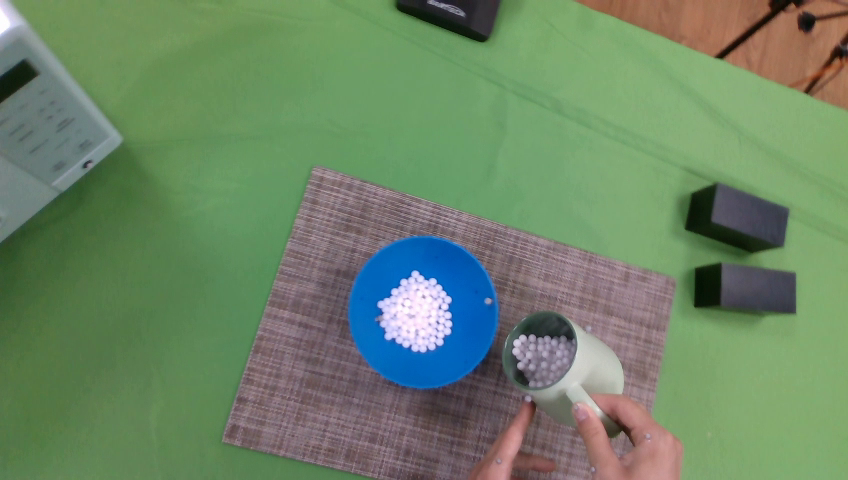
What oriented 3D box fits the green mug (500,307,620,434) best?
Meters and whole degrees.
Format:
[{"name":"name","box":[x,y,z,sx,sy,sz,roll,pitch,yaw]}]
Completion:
[{"name":"green mug","box":[0.140,0.132,0.581,0.092,0.124,0.106,-43,132,7]}]

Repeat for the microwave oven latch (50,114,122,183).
[{"name":"microwave oven latch","box":[-0.335,-0.092,0.590,0.079,0.029,0.030,-44,92,-14]}]

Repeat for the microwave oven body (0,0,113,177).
[{"name":"microwave oven body","box":[-0.543,-0.089,0.448,0.326,0.260,0.441,45,76,-2]}]

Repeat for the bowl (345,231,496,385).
[{"name":"bowl","box":[-0.008,0.071,0.625,0.152,0.077,0.151,2,80,-11]}]

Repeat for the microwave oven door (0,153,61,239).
[{"name":"microwave oven door","box":[-0.466,0.042,0.438,0.039,0.244,0.355,44,76,-1]}]
